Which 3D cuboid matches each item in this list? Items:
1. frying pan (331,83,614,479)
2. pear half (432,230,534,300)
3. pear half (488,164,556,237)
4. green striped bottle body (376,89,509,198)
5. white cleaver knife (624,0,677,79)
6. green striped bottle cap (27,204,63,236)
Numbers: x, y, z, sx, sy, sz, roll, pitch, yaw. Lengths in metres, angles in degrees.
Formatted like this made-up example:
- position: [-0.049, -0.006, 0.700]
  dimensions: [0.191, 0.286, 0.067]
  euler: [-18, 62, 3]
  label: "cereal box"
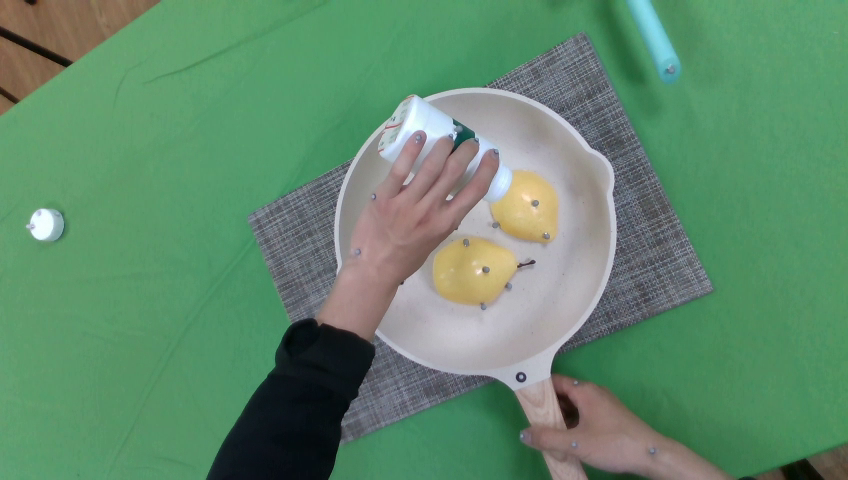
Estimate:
- position: [0.082, 0.081, 0.616]
  dimensions: [0.306, 0.103, 0.485]
  euler: [-24, 76, 15]
  label: "frying pan"
- position: [0.062, 0.025, 0.646]
  dimensions: [0.109, 0.056, 0.076]
  euler: [-12, 92, 14]
  label: "pear half"
- position: [0.105, -0.041, 0.644]
  dimensions: [0.070, 0.031, 0.087]
  euler: [-42, 77, 17]
  label: "pear half"
- position: [0.021, -0.082, 0.556]
  dimensions: [0.120, 0.062, 0.063]
  euler: [27, 99, -23]
  label: "green striped bottle body"
- position: [0.189, -0.291, 0.607]
  dimensions: [0.021, 0.066, 0.285]
  euler: [-23, 82, 19]
  label: "white cleaver knife"
- position: [-0.517, -0.028, 0.826]
  dimensions: [0.044, 0.020, 0.044]
  euler: [0, 90, 16]
  label: "green striped bottle cap"
